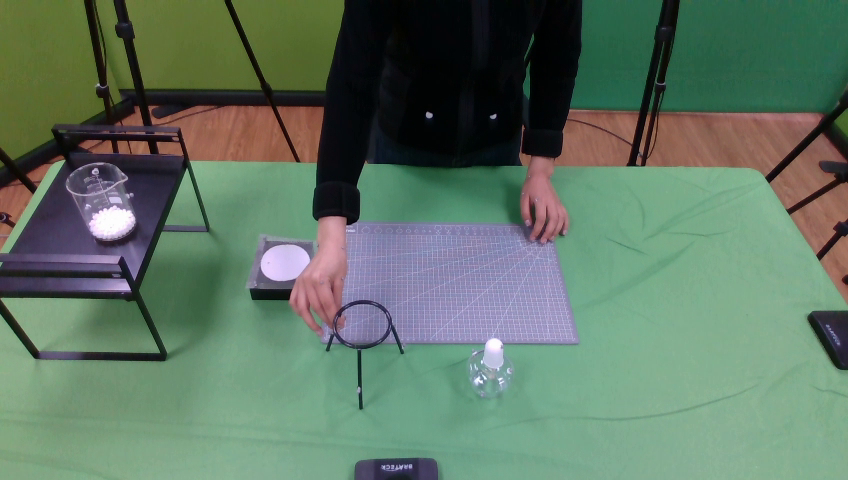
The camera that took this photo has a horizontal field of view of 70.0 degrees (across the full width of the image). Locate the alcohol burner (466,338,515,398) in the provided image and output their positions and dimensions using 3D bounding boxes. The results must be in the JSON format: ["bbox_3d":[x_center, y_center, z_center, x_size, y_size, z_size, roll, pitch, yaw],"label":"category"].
[{"bbox_3d":[0.106,0.195,0.952,0.078,0.120,0.077,0,45,0],"label":"alcohol burner"}]

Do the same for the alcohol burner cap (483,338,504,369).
[{"bbox_3d":[0.108,0.170,0.927,0.034,0.048,0.033,-1,41,1],"label":"alcohol burner cap"}]

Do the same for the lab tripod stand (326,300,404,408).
[{"bbox_3d":[-0.099,0.167,0.950,0.148,0.132,0.147,0,47,0],"label":"lab tripod stand"}]

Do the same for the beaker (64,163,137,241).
[{"bbox_3d":[-0.478,-0.055,0.910,0.084,0.101,0.073,-9,48,-13],"label":"beaker"}]

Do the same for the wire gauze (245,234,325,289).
[{"bbox_3d":[-0.245,0.038,1.081,0.121,0.011,0.124,5,47,-3],"label":"wire gauze"}]
